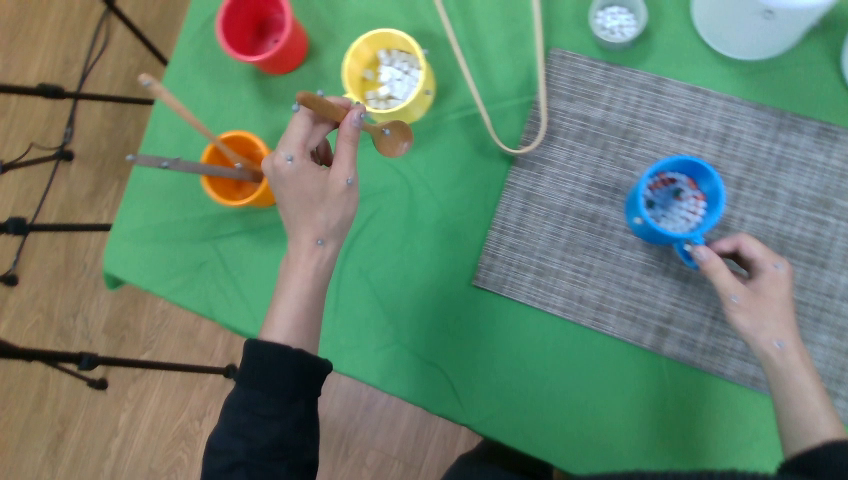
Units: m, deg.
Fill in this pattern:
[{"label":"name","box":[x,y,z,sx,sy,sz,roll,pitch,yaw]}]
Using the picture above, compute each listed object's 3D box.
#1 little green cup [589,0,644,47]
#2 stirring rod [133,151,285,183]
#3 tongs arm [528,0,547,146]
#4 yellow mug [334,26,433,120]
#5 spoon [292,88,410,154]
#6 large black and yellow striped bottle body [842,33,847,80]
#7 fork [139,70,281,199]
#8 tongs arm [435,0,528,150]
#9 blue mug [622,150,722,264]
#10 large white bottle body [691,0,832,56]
[{"label":"little green cup","box":[0.221,-0.255,0.702,0.061,0.039,0.061,0,88,10]},{"label":"stirring rod","box":[-0.255,-0.087,0.732,0.177,0.006,0.014,5,83,-31]},{"label":"tongs arm","box":[0.119,-0.305,0.707,0.028,0.028,0.387,-5,93,2]},{"label":"yellow mug","box":[-0.056,-0.191,0.737,0.131,0.064,0.099,-33,83,9]},{"label":"spoon","box":[-0.059,-0.109,0.551,0.021,0.194,0.041,39,102,16]},{"label":"large black and yellow striped bottle body","box":[0.507,-0.205,0.573,0.130,0.184,0.130,-1,86,11]},{"label":"fork","box":[-0.253,-0.123,0.727,0.028,0.018,0.209,-43,124,2]},{"label":"tongs arm","box":[0.037,-0.285,0.718,0.051,0.026,0.384,-19,91,6]},{"label":"blue mug","box":[0.266,-0.029,0.646,0.082,0.106,0.116,-21,84,9]},{"label":"large white bottle body","box":[0.354,-0.278,0.604,0.130,0.185,0.130,-1,87,11]}]
